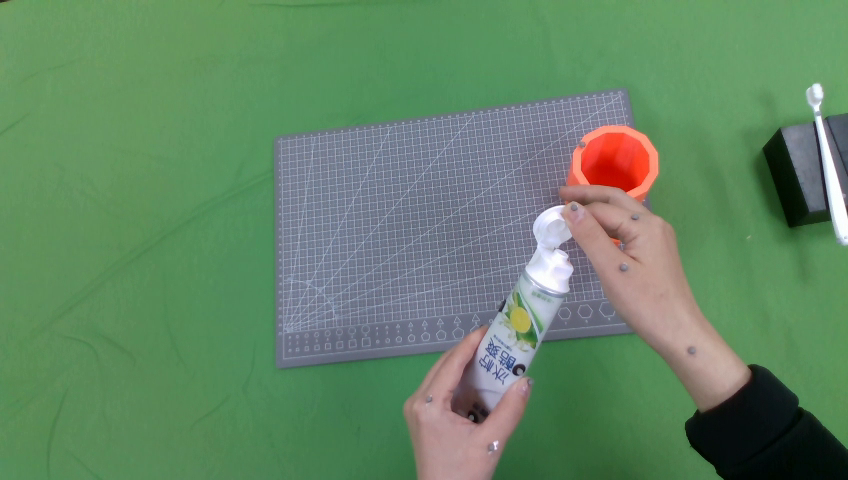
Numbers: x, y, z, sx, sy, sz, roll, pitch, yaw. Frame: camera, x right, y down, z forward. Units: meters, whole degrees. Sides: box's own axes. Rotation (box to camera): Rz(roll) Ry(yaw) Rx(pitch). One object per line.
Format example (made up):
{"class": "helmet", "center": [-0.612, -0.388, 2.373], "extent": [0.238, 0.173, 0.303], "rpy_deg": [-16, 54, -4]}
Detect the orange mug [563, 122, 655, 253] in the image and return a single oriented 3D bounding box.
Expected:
{"class": "orange mug", "center": [0.198, -0.053, 0.660], "extent": [0.083, 0.101, 0.125], "rpy_deg": [1, 69, 8]}

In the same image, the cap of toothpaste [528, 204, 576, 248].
{"class": "cap of toothpaste", "center": [0.092, -0.010, 0.431], "extent": [0.037, 0.038, 0.011], "rpy_deg": [-21, 43, 1]}

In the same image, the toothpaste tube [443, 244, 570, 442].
{"class": "toothpaste tube", "center": [0.062, 0.074, 0.454], "extent": [0.054, 0.035, 0.165], "rpy_deg": [40, 117, 36]}

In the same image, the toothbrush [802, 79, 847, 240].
{"class": "toothbrush", "center": [0.421, -0.088, 0.635], "extent": [0.014, 0.017, 0.181], "rpy_deg": [-1, 74, 4]}
